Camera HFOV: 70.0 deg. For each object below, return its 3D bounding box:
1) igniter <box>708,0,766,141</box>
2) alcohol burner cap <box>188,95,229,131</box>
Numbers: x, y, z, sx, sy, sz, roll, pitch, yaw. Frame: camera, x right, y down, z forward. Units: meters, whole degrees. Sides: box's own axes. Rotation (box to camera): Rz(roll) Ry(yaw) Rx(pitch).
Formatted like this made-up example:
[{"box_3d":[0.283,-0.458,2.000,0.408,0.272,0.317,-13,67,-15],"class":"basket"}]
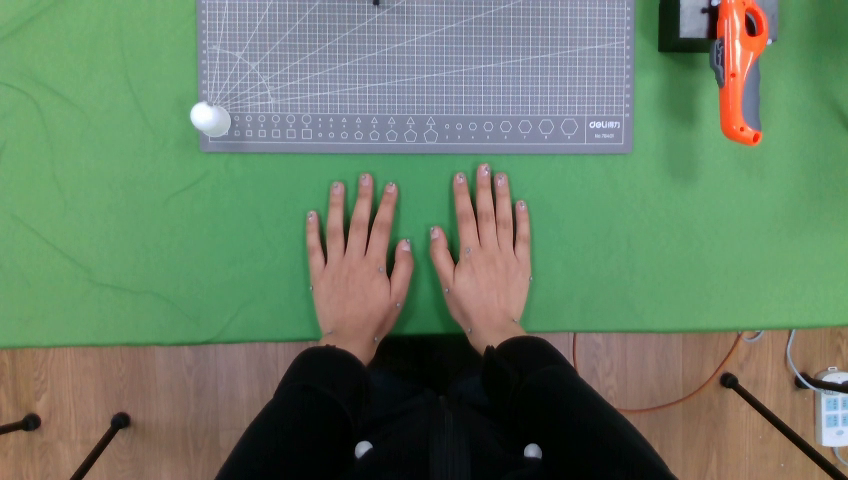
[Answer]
[{"box_3d":[0.301,-0.233,0.583,0.057,0.025,0.276,-2,91,-7],"class":"igniter"},{"box_3d":[-0.215,-0.127,0.598,0.034,0.048,0.034,0,91,-4],"class":"alcohol burner cap"}]
